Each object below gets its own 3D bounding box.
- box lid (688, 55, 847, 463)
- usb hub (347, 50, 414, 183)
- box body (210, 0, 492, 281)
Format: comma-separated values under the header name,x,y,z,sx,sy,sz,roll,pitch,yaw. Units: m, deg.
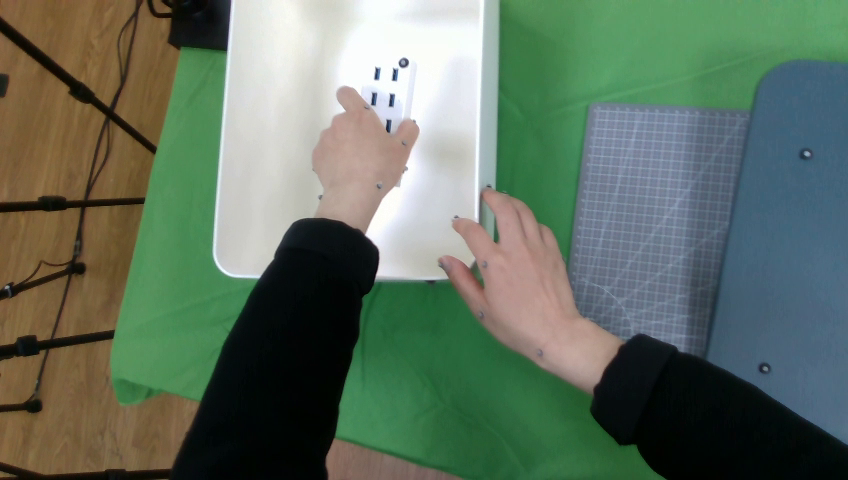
name,x,y,z,sx,sy,sz,roll,pitch,yaw
box lid,0.406,0.029,0.552,0.262,0.015,0.372,9,97,14
usb hub,-0.043,-0.120,0.590,0.049,0.025,0.125,8,91,14
box body,-0.059,-0.135,0.638,0.253,0.161,0.363,0,83,13
